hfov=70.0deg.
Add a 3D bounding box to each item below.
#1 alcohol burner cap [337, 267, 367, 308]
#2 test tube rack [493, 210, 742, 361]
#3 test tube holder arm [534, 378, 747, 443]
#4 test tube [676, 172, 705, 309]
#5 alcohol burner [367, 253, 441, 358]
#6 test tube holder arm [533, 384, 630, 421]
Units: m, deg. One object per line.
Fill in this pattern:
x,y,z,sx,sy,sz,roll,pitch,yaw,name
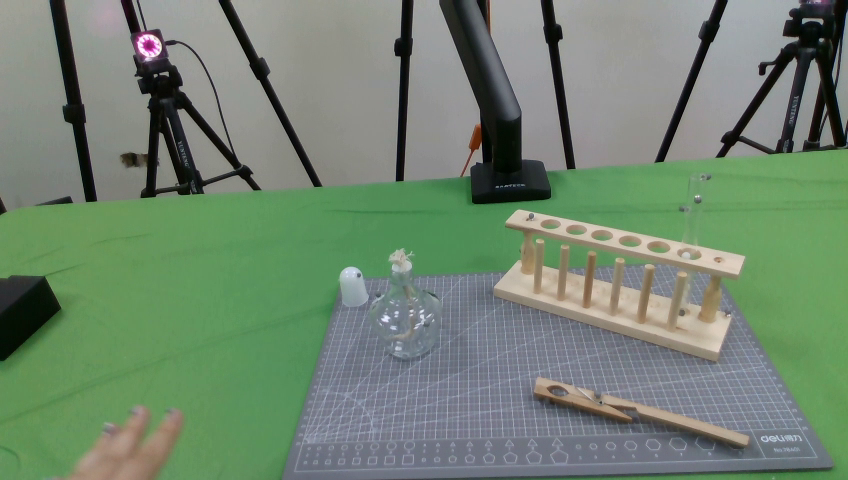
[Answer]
-0.087,0.053,0.718,0.034,0.048,0.033,-3,32,2,alcohol burner cap
0.194,0.041,0.647,0.240,0.086,0.066,15,37,31,test tube rack
0.185,0.148,0.533,0.177,0.015,0.013,9,68,22,test tube holder arm
0.260,0.005,0.598,0.017,0.151,0.017,-5,28,3,test tube
-0.022,0.062,0.623,0.078,0.120,0.077,-3,33,2,alcohol burner
0.142,0.147,0.548,0.087,0.015,0.010,10,68,22,test tube holder arm
